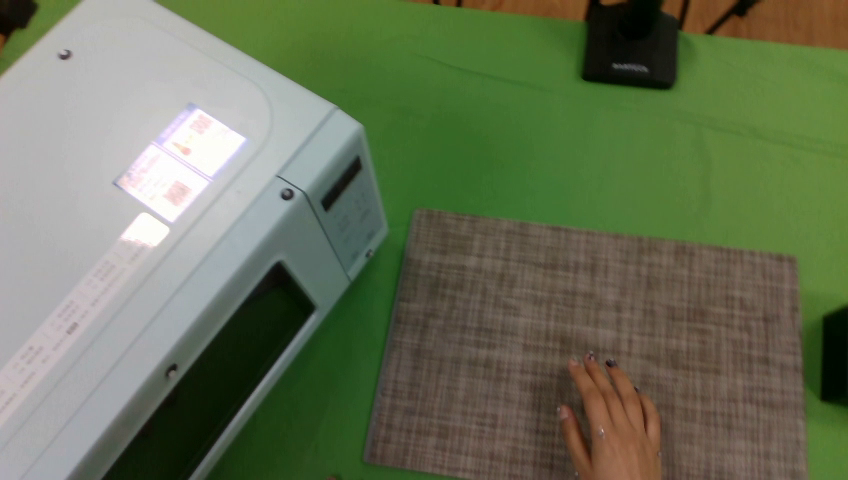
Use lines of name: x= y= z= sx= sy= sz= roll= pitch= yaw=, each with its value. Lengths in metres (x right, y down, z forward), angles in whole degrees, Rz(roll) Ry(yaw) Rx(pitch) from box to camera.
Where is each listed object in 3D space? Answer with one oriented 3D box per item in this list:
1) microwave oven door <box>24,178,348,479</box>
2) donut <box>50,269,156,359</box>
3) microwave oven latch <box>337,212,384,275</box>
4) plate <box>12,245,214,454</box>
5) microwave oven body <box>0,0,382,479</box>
microwave oven door: x=-0.203 y=0.133 z=0.541 sx=0.039 sy=0.245 sz=0.355 roll=31 pitch=73 yaw=14
donut: x=-0.327 y=0.075 z=0.622 sx=0.099 sy=0.048 sz=0.098 roll=3 pitch=54 yaw=-4
microwave oven latch: x=-0.076 y=-0.001 z=0.696 sx=0.030 sy=0.030 sz=0.079 roll=31 pitch=74 yaw=13
plate: x=-0.303 y=0.106 z=0.604 sx=0.209 sy=0.038 sz=0.207 roll=-4 pitch=66 yaw=10
microwave oven body: x=-0.302 y=0.029 z=0.589 sx=0.324 sy=0.262 sz=0.440 roll=31 pitch=74 yaw=12
